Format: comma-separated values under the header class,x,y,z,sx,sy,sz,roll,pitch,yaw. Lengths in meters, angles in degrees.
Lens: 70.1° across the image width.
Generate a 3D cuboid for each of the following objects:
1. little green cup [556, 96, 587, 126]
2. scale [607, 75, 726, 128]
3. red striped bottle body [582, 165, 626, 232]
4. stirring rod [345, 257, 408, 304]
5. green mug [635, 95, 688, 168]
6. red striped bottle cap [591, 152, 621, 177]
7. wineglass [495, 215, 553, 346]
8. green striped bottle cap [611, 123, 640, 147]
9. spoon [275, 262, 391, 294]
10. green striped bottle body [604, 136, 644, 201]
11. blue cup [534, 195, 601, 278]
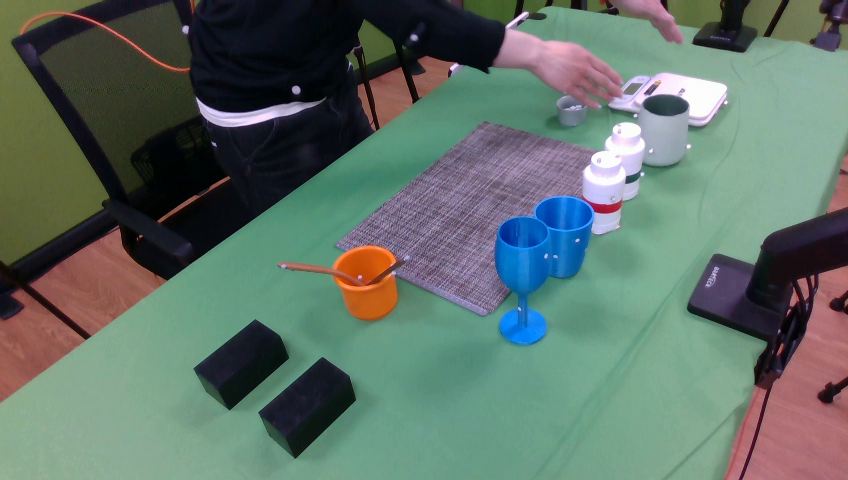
class,x,y,z,sx,sy,sz,roll,pitch,yaw
little green cup,0.295,-0.257,1.215,0.061,0.039,0.061,-5,40,5
scale,0.490,-0.287,1.226,0.199,0.032,0.149,22,48,30
red striped bottle body,0.279,-0.075,0.942,0.063,0.120,0.062,-4,41,4
stirring rod,-0.067,0.057,0.815,0.014,0.175,0.006,-25,82,-38
green mug,0.421,-0.201,1.081,0.092,0.105,0.125,6,42,15
red striped bottle cap,0.273,-0.114,0.907,0.044,0.018,0.044,-5,39,5
wineglass,0.127,0.054,0.770,0.074,0.173,0.073,-4,40,4
green striped bottle cap,0.322,-0.168,0.963,0.044,0.020,0.044,-4,41,4
spoon,-0.120,0.050,0.830,0.041,0.195,0.021,32,97,45
green striped bottle body,0.326,-0.128,0.997,0.063,0.120,0.063,-4,41,4
blue cup,0.201,0.000,0.879,0.092,0.100,0.092,-3,39,3
